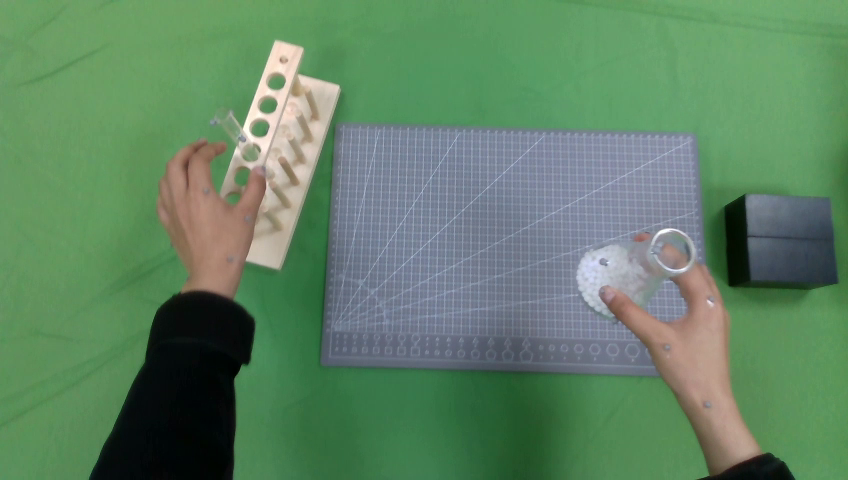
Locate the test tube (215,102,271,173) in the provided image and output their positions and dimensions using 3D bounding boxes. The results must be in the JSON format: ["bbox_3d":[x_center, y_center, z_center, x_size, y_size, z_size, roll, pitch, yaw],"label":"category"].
[{"bbox_3d":[-0.190,-0.105,0.649,0.017,0.151,0.017,0,74,2],"label":"test tube"}]

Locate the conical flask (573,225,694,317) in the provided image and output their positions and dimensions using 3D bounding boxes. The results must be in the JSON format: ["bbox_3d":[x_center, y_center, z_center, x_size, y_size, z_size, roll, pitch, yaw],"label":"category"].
[{"bbox_3d":[0.182,0.022,0.519,0.075,0.122,0.075,2,75,-7],"label":"conical flask"}]

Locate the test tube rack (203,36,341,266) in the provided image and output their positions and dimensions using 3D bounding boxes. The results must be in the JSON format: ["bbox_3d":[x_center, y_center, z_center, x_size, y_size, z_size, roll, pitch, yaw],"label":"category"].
[{"bbox_3d":[-0.169,-0.100,0.698,0.067,0.085,0.241,16,78,2],"label":"test tube rack"}]
